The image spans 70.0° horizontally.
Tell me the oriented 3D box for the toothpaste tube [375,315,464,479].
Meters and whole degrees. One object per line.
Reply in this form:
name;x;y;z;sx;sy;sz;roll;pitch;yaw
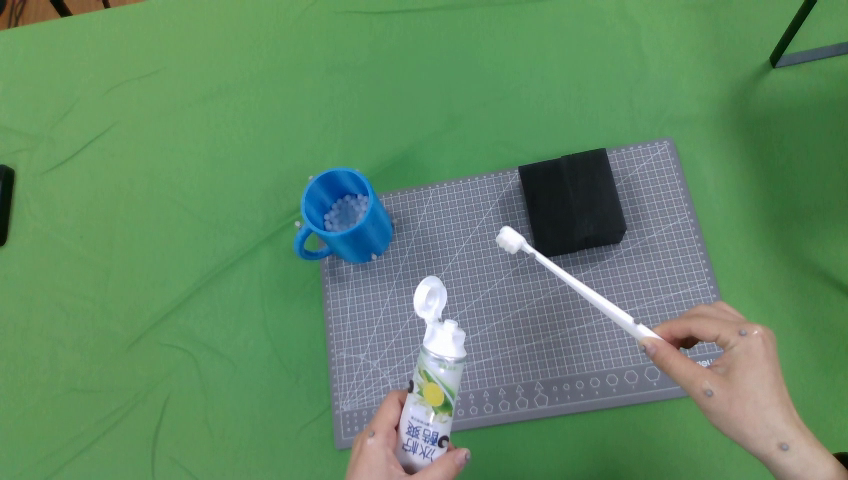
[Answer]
toothpaste tube;-0.001;0.137;0.473;0.055;0.034;0.165;16;100;21

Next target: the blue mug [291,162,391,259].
blue mug;-0.101;-0.022;0.705;0.116;0.106;0.082;-37;71;-3

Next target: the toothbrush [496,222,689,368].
toothbrush;0.132;0.044;0.483;0.181;0.014;0.016;37;44;9

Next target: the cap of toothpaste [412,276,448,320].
cap of toothpaste;0.006;0.046;0.471;0.011;0.038;0.037;11;72;45
